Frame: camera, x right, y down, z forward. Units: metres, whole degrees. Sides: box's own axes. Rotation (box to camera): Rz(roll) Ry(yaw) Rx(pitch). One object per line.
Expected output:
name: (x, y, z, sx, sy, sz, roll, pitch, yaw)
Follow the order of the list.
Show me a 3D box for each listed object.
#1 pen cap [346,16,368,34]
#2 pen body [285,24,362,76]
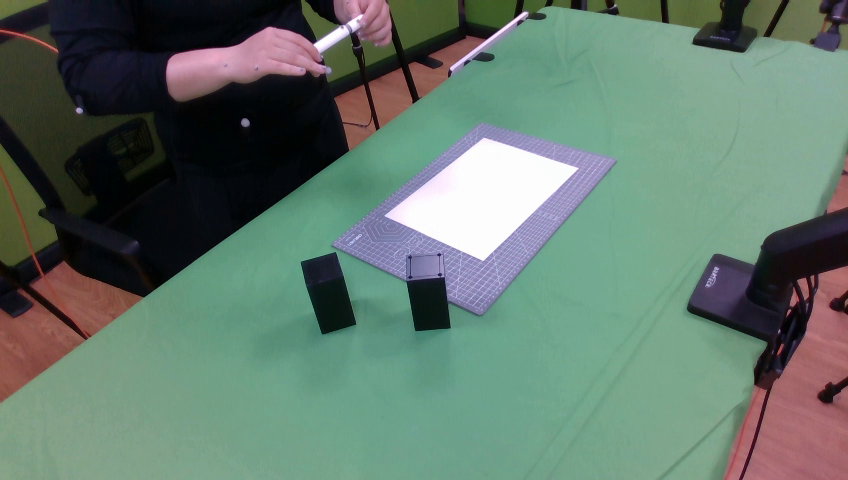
pen cap: (-0.107, -0.342, 0.964, 0.017, 0.017, 0.038, 28, 60, 35)
pen body: (-0.152, -0.296, 0.935, 0.144, 0.017, 0.016, -39, 48, -16)
